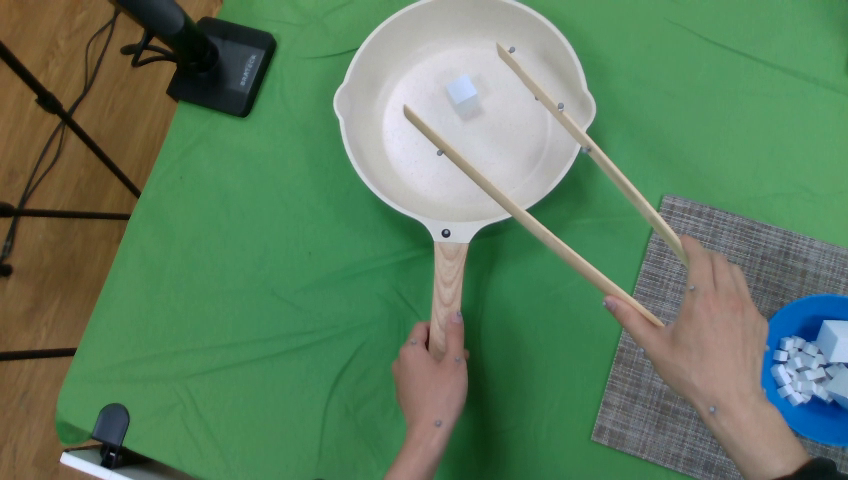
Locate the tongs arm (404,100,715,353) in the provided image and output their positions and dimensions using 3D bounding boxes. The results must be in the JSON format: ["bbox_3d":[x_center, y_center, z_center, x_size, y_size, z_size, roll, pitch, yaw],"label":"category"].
[{"bbox_3d":[0.108,-0.025,0.588,0.028,0.028,0.384,-39,66,-16],"label":"tongs arm"}]

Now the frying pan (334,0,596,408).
[{"bbox_3d":[0.036,-0.055,0.702,0.306,0.103,0.485,4,71,8],"label":"frying pan"}]

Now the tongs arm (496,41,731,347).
[{"bbox_3d":[0.165,-0.064,0.598,0.051,0.027,0.381,-31,65,-9],"label":"tongs arm"}]

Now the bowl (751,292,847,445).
[{"bbox_3d":[0.412,0.133,0.636,0.151,0.077,0.150,-1,78,6],"label":"bowl"}]
